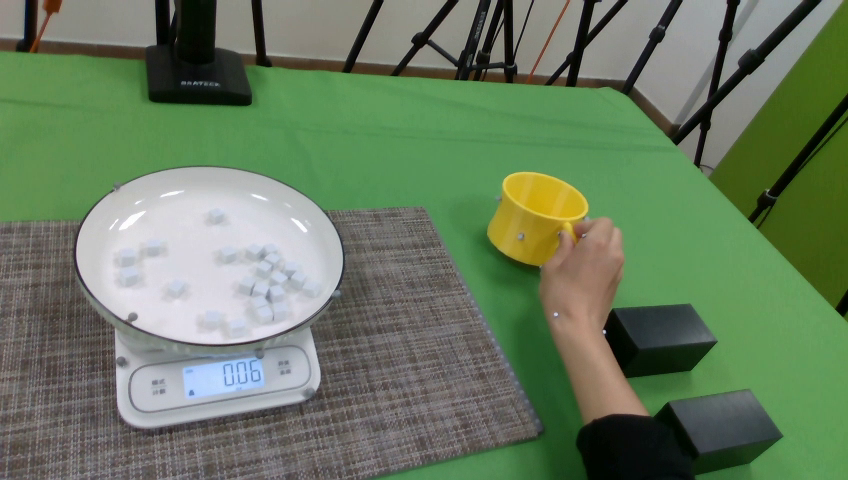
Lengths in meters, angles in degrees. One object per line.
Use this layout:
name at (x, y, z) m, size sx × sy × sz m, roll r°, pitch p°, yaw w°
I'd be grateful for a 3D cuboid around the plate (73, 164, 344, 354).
plate at (-0.174, 0.014, 0.509) m, size 0.210 × 0.038 × 0.207 m, roll 12°, pitch 41°, yaw -10°

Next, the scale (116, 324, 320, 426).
scale at (-0.178, 0.054, 0.514) m, size 0.149 × 0.032 × 0.198 m, roll -4°, pitch 46°, yaw -25°

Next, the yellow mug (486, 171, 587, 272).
yellow mug at (0.133, -0.017, 0.682) m, size 0.100 × 0.064 × 0.129 m, roll -4°, pitch 39°, yaw -25°
